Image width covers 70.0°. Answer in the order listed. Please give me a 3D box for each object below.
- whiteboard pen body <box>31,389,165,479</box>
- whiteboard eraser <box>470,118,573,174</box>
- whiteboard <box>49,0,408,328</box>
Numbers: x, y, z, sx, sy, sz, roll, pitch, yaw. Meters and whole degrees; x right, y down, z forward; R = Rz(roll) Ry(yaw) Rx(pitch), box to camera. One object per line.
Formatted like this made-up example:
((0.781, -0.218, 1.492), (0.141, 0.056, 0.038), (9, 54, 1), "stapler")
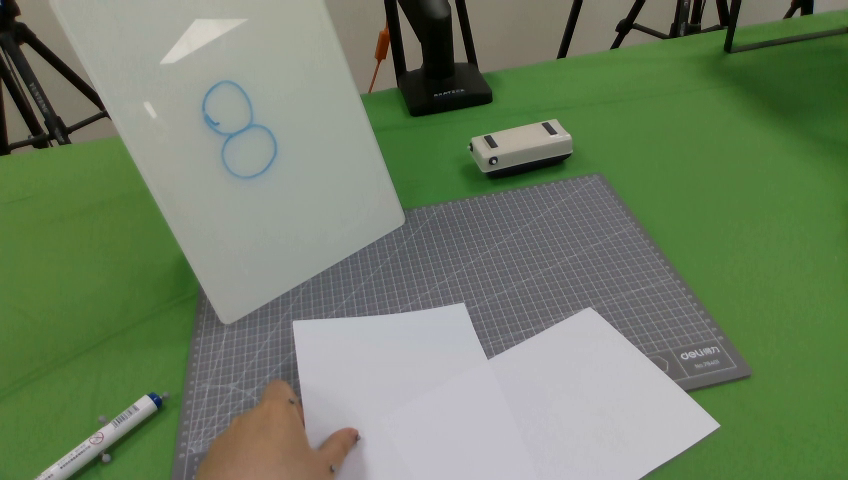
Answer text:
((-0.261, 0.164, 0.460), (0.017, 0.017, 0.140), (24, 48, 32), "whiteboard pen body")
((0.115, -0.110, 0.718), (0.113, 0.042, 0.055), (-13, 42, -8), "whiteboard eraser")
((-0.184, -0.111, 0.604), (0.217, 0.308, 0.142), (-31, 25, -25), "whiteboard")
